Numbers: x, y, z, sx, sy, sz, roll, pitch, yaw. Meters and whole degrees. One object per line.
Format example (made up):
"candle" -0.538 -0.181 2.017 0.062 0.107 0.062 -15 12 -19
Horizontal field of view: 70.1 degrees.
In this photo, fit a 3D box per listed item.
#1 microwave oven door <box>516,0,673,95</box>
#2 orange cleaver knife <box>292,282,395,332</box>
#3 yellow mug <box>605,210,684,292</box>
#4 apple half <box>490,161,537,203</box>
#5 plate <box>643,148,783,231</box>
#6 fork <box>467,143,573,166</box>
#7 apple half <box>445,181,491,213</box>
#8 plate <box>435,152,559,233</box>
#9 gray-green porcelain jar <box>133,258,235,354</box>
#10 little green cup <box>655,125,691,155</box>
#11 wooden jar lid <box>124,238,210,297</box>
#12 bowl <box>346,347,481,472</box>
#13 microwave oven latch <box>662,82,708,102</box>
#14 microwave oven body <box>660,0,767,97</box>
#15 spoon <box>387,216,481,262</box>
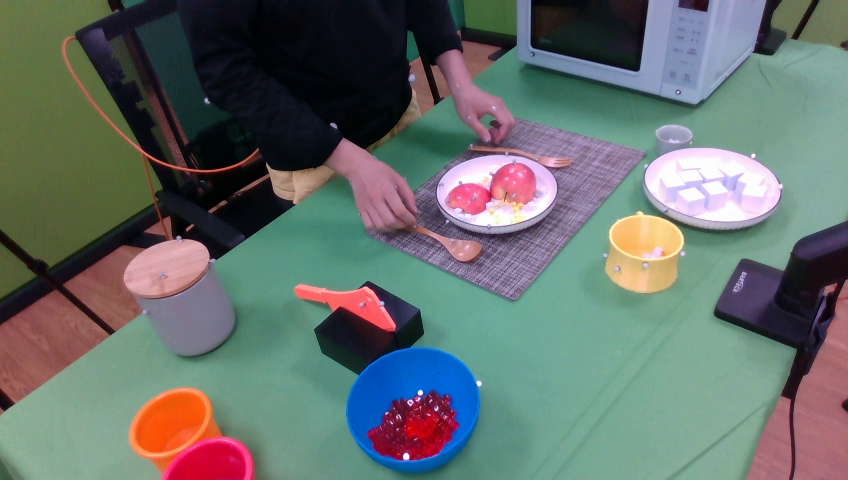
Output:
"microwave oven door" 0.344 -0.458 1.257 0.353 0.245 0.039 26 52 33
"orange cleaver knife" -0.116 0.091 0.835 0.209 0.077 0.012 2 32 48
"yellow mug" 0.318 0.007 0.883 0.100 0.064 0.130 0 41 8
"apple half" 0.154 -0.106 1.030 0.080 0.053 0.075 22 46 31
"plate" 0.464 -0.080 0.986 0.207 0.039 0.206 -4 41 4
"fork" 0.176 -0.164 1.132 0.206 0.019 0.028 14 64 22
"apple half" 0.077 -0.083 1.029 0.081 0.033 0.081 -2 41 2
"plate" 0.123 -0.078 1.026 0.209 0.038 0.208 -4 40 4
"gray-green porcelain jar" -0.327 0.086 0.836 0.106 0.127 0.105 -4 41 4
"little green cup" 0.450 -0.178 1.099 0.061 0.039 0.061 -5 40 4
"wooden jar lid" -0.335 0.038 0.794 0.108 0.021 0.108 -2 40 2
"bowl" -0.008 0.205 0.691 0.151 0.077 0.150 -4 40 4
"microwave oven latch" 0.517 -0.298 1.203 0.078 0.029 0.030 28 52 35
"microwave oven body" 0.474 -0.517 1.314 0.438 0.261 0.327 26 52 34
"spoon" 0.012 -0.009 0.973 0.192 0.022 0.041 25 72 31
